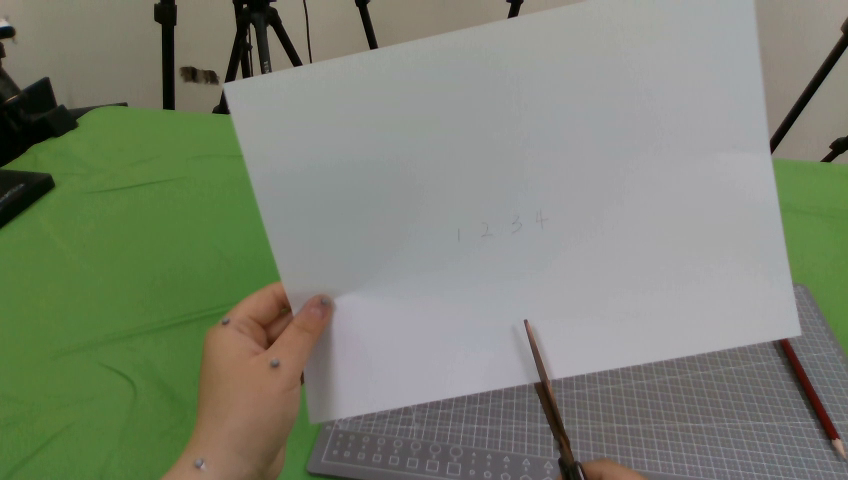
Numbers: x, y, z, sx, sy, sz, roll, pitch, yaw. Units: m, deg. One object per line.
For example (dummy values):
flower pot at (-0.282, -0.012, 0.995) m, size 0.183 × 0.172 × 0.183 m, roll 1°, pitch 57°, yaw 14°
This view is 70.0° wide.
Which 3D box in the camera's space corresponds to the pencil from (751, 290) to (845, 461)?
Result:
pencil at (0.328, 0.111, 0.537) m, size 0.012 × 0.012 × 0.192 m, roll 4°, pitch 37°, yaw 3°

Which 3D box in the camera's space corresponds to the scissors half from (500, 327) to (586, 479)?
scissors half at (0.082, 0.126, 0.345) m, size 0.013 × 0.040 × 0.173 m, roll -23°, pitch 64°, yaw -7°

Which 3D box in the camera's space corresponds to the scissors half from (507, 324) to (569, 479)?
scissors half at (0.081, 0.131, 0.368) m, size 0.013 × 0.175 × 0.040 m, roll -22°, pitch 7°, yaw -11°
